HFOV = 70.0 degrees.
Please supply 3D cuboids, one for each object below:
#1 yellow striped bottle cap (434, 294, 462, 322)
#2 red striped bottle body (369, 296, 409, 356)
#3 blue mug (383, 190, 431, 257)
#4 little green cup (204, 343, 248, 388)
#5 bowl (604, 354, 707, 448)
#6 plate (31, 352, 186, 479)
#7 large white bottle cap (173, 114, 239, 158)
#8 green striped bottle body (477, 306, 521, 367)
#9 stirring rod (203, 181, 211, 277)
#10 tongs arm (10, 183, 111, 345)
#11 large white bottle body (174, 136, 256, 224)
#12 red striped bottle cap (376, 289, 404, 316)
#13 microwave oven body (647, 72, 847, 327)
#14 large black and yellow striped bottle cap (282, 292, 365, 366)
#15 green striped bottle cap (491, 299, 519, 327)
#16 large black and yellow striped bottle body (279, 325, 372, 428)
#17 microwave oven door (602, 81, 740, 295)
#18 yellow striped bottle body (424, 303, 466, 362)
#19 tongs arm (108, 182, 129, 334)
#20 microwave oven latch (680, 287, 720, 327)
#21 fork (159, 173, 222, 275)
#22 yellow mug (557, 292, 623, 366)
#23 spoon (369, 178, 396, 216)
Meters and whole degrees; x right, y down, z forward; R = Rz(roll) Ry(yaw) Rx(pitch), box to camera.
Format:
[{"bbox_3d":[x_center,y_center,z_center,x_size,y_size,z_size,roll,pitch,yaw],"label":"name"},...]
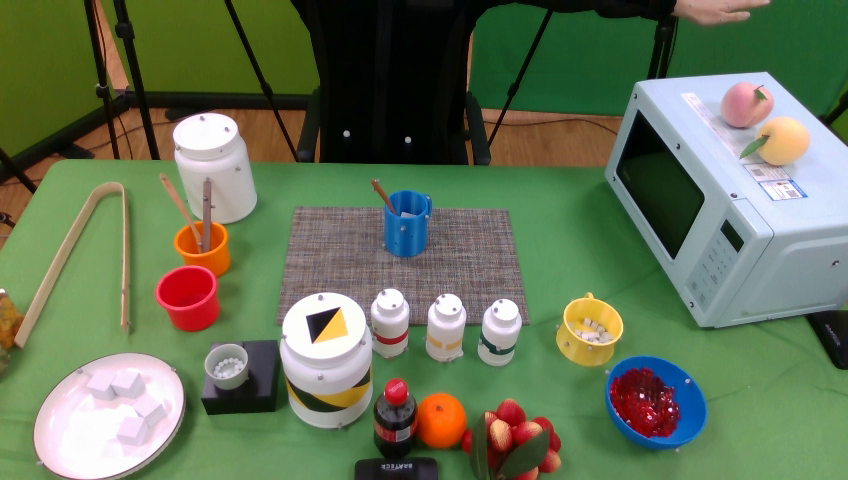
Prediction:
[{"bbox_3d":[0.037,0.107,0.958,0.044,0.019,0.044,2,45,-2],"label":"yellow striped bottle cap"},{"bbox_3d":[-0.058,0.134,0.997,0.063,0.120,0.062,4,47,-4],"label":"red striped bottle body"},{"bbox_3d":[-0.026,-0.040,1.172,0.082,0.106,0.116,34,53,25],"label":"blue mug"},{"bbox_3d":[-0.294,0.191,0.909,0.061,0.039,0.061,1,48,-1],"label":"little green cup"},{"bbox_3d":[0.346,0.261,0.937,0.151,0.077,0.150,2,46,-2],"label":"bowl"},{"bbox_3d":[-0.459,0.262,0.898,0.209,0.038,0.208,2,46,-2],"label":"plate"},{"bbox_3d":[-0.403,-0.195,1.122,0.115,0.018,0.114,2,47,-2],"label":"large white bottle cap"},{"bbox_3d":[0.124,0.151,0.995,0.063,0.120,0.063,2,46,-2],"label":"green striped bottle body"},{"bbox_3d":[-0.396,-0.021,1.107,0.014,0.006,0.176,-1,89,-1],"label":"stirring rod"},{"bbox_3d":[-0.658,0.027,1.109,0.028,0.028,0.385,-2,45,1],"label":"tongs arm"},{"bbox_3d":[-0.408,-0.137,1.183,0.131,0.185,0.130,2,46,-2],"label":"large white bottle body"},{"bbox_3d":[-0.054,0.098,0.958,0.044,0.018,0.044,0,48,0],"label":"red striped bottle cap"},{"bbox_3d":[0.608,-0.089,1.164,0.326,0.261,0.438,-7,46,-10],"label":"microwave oven body"},{"bbox_3d":[-0.138,0.121,0.841,0.115,0.019,0.114,3,47,-3],"label":"large black and yellow striped bottle cap"},{"bbox_3d":[0.128,0.115,0.958,0.044,0.020,0.044,1,47,-1],"label":"green striped bottle cap"},{"bbox_3d":[-0.143,0.181,0.900,0.131,0.185,0.130,2,46,-2],"label":"large black and yellow striped bottle body"},{"bbox_3d":[0.456,-0.107,1.162,0.039,0.245,0.353,-6,47,-11],"label":"microwave oven door"},{"bbox_3d":[0.035,0.143,0.995,0.063,0.121,0.062,3,46,-3],"label":"yellow striped bottle body"},{"bbox_3d":[-0.571,0.019,1.123,0.051,0.026,0.382,-10,47,-12],"label":"tongs arm"},{"bbox_3d":[0.494,0.119,1.089,0.030,0.029,0.078,-7,46,-10],"label":"microwave oven latch"},{"bbox_3d":[-0.427,-0.029,1.103,0.028,0.018,0.207,-31,99,-30],"label":"fork"},{"bbox_3d":[0.285,0.145,1.051,0.100,0.064,0.130,7,45,4],"label":"yellow mug"},{"bbox_3d":[-0.065,-0.057,1.106,0.041,0.195,0.021,17,64,26],"label":"spoon"}]
